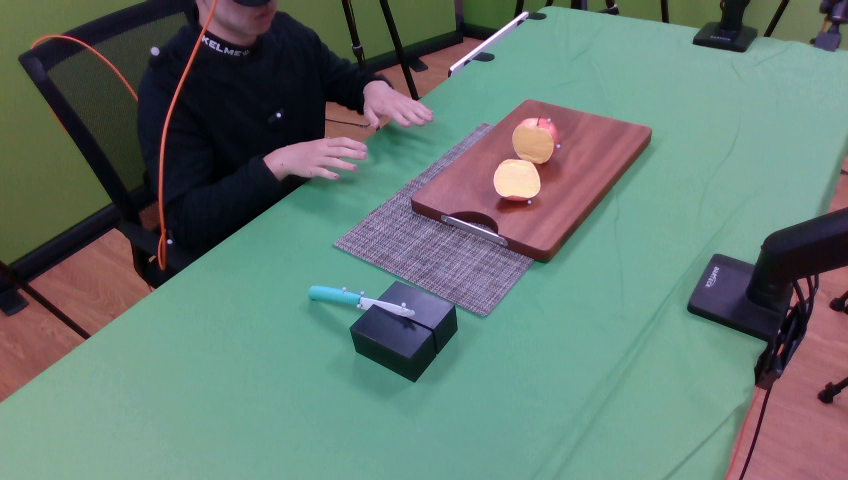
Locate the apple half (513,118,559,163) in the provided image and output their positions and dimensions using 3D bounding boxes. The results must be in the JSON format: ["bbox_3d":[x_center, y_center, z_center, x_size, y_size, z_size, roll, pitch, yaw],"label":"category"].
[{"bbox_3d":[0.202,-0.179,1.066,0.080,0.075,0.053,14,41,29],"label":"apple half"}]

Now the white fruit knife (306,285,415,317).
[{"bbox_3d":[-0.092,0.085,0.837,0.206,0.027,0.016,6,36,36],"label":"white fruit knife"}]

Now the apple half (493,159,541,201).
[{"bbox_3d":[0.153,-0.095,0.999,0.081,0.033,0.081,-1,64,2],"label":"apple half"}]
